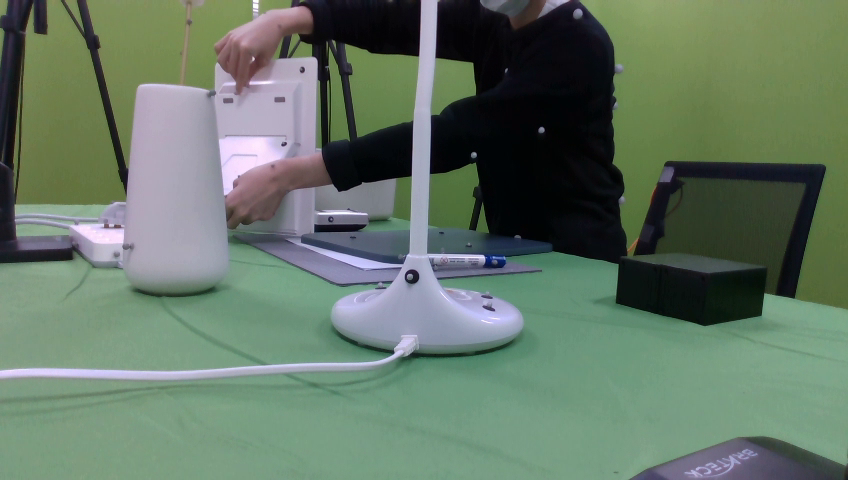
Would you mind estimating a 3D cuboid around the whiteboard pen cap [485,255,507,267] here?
[{"bbox_3d":[0.093,0.028,0.809,0.033,0.018,0.018,0,8,-23],"label":"whiteboard pen cap"}]

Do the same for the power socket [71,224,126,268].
[{"bbox_3d":[-0.409,0.004,0.793,0.072,0.032,0.225,-2,8,-37],"label":"power socket"}]

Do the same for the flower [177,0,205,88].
[{"bbox_3d":[-0.243,-0.131,0.609,0.044,0.361,0.038,-5,-12,12],"label":"flower"}]

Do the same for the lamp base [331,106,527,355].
[{"bbox_3d":[0.006,-0.012,0.478,0.161,0.180,0.179,2,10,2],"label":"lamp base"}]

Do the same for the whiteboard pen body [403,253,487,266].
[{"bbox_3d":[0.040,0.026,0.784,0.141,0.017,0.017,2,7,-24],"label":"whiteboard pen body"}]

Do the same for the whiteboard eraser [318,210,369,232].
[{"bbox_3d":[-0.168,-0.037,1.172,0.113,0.042,0.055,-2,7,-35],"label":"whiteboard eraser"}]

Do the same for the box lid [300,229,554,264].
[{"bbox_3d":[0.011,0.006,0.998,0.374,0.015,0.262,-3,9,-43],"label":"box lid"}]

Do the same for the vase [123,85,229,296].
[{"bbox_3d":[-0.244,-0.047,0.598,0.098,0.200,0.098,3,8,0],"label":"vase"}]

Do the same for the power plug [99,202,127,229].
[{"bbox_3d":[-0.415,-0.026,0.848,0.073,0.052,0.035,6,5,-28],"label":"power plug"}]

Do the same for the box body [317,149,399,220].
[{"bbox_3d":[-0.264,-0.129,1.380,0.253,0.160,0.366,8,9,39],"label":"box body"}]

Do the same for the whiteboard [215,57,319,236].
[{"bbox_3d":[-0.307,-0.155,1.007,0.216,0.305,0.144,4,8,24],"label":"whiteboard"}]
